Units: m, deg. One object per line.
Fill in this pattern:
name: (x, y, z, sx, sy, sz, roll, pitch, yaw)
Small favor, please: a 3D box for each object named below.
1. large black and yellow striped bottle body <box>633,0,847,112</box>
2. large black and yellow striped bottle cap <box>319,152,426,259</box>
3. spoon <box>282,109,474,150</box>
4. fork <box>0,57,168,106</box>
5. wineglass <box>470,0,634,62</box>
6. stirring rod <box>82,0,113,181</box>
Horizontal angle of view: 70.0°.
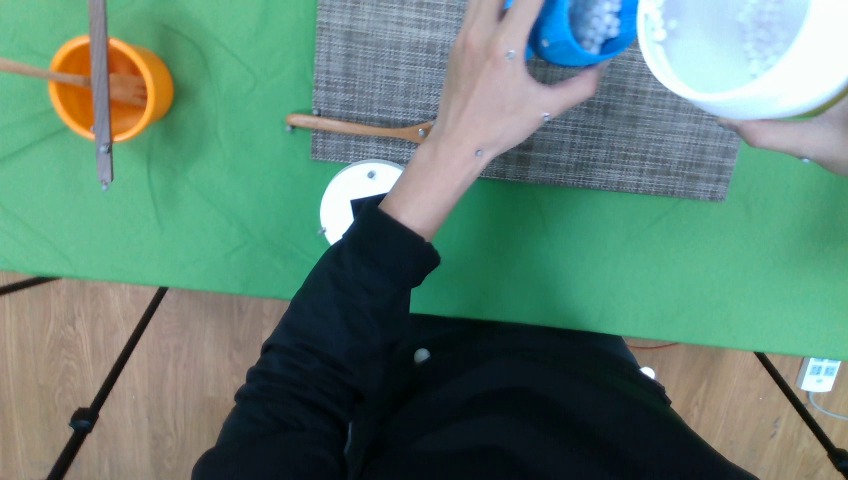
large black and yellow striped bottle body: (0.237, -0.153, 0.400, 0.185, 0.129, 0.131, -11, 113, -37)
large black and yellow striped bottle cap: (-0.054, -0.035, 0.643, 0.115, 0.018, 0.115, -1, 112, -3)
spoon: (-0.046, -0.117, 0.609, 0.194, 0.021, 0.042, 4, 128, -4)
fork: (-0.325, -0.145, 0.522, 0.209, 0.018, 0.028, 1, 122, -49)
wineglass: (0.096, -0.183, 0.493, 0.074, 0.171, 0.074, -4, 104, -15)
stirring rod: (-0.283, -0.138, 0.524, 0.014, 0.006, 0.177, 4, 108, -4)
